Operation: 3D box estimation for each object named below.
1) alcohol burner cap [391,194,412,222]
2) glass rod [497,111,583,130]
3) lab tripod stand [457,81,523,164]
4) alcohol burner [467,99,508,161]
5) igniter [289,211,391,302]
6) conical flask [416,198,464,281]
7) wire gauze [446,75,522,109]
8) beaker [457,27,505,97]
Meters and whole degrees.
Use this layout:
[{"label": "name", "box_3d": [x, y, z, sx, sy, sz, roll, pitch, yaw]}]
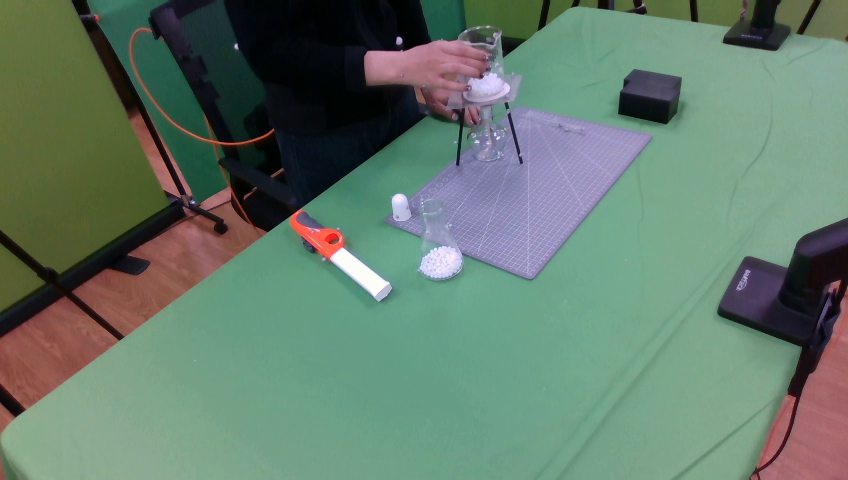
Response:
[{"label": "alcohol burner cap", "box_3d": [-0.041, -0.057, 1.040, 0.034, 0.048, 0.033, -6, 39, 5]}, {"label": "glass rod", "box_3d": [0.233, -0.245, 1.235, 0.198, 0.008, 0.008, 20, 49, 34]}, {"label": "lab tripod stand", "box_3d": [0.120, -0.219, 1.130, 0.148, 0.132, 0.147, -7, 39, 6]}, {"label": "alcohol burner", "box_3d": [0.119, -0.210, 1.134, 0.078, 0.119, 0.077, -4, 39, 4]}, {"label": "igniter", "box_3d": [-0.146, 0.019, 0.986, 0.057, 0.025, 0.274, -40, 48, -18]}, {"label": "conical flask", "box_3d": [0.019, -0.004, 0.907, 0.075, 0.122, 0.075, -5, 40, 5]}, {"label": "wire gauze", "box_3d": [0.109, -0.269, 1.085, 0.121, 0.011, 0.125, 2, 40, 15]}, {"label": "beaker", "box_3d": [0.104, -0.307, 1.051, 0.074, 0.101, 0.083, -26, 41, -16]}]
